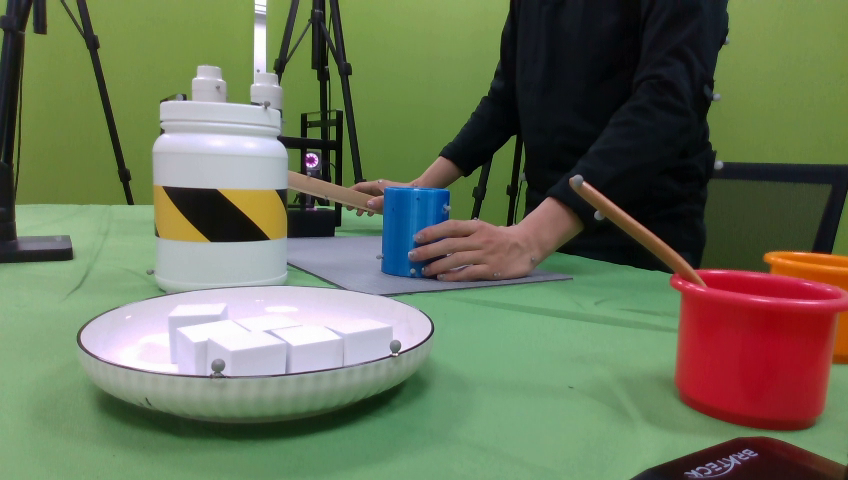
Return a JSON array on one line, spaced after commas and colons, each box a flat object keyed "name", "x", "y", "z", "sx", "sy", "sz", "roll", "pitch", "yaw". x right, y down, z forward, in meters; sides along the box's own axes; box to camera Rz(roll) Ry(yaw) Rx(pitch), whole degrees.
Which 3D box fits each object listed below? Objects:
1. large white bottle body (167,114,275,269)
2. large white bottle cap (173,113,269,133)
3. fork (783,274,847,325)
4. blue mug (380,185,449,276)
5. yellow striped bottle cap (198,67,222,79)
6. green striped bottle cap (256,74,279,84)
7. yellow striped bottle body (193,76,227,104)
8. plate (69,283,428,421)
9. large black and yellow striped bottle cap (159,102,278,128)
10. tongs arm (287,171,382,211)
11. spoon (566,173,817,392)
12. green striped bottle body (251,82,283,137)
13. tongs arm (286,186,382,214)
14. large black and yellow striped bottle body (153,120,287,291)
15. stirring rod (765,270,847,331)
[{"name": "large white bottle body", "x": -0.256, "y": -0.063, "z": 0.771, "sx": 0.131, "sy": 0.184, "sz": 0.130, "roll": 2, "pitch": 7, "yaw": 0}, {"name": "large white bottle cap", "x": -0.254, "y": -0.146, "z": 0.760, "sx": 0.115, "sy": 0.018, "sz": 0.115, "roll": 1, "pitch": 7, "yaw": 0}, {"name": "fork", "x": 0.332, "y": 0.018, "z": 0.443, "sx": 0.028, "sy": 0.018, "sz": 0.207, "roll": -1, "pitch": -36, "yaw": -15}, {"name": "blue mug", "x": -0.018, "y": -0.016, "z": 0.764, "sx": 0.083, "sy": 0.106, "sz": 0.116, "roll": -2, "pitch": 8, "yaw": -25}, {"name": "yellow striped bottle cap", "x": -0.411, "y": -0.320, "z": 1.163, "sx": 0.044, "sy": 0.018, "sz": 0.044, "roll": 1, "pitch": 6, "yaw": 0}, {"name": "green striped bottle cap", "x": -0.314, "y": -0.321, "z": 1.214, "sx": 0.044, "sy": 0.020, "sz": 0.044, "roll": 1, "pitch": 8, "yaw": 0}, {"name": "yellow striped bottle body", "x": -0.414, "y": -0.268, "z": 1.169, "sx": 0.063, "sy": 0.120, "sz": 0.063, "roll": 2, "pitch": 7, "yaw": 0}, {"name": "plate", "x": -0.102, "y": 0.066, "z": 0.381, "sx": 0.208, "sy": 0.039, "sz": 0.207, "roll": 2, "pitch": 7, "yaw": 0}, {"name": "large black and yellow striped bottle cap", "x": -0.207, "y": -0.125, "z": 0.615, "sx": 0.115, "sy": 0.019, "sz": 0.115, "roll": 2, "pitch": 6, "yaw": 0}, {"name": "tongs arm", "x": -0.125, "y": -0.078, "z": 1.150, "sx": 0.387, "sy": 0.026, "sz": 0.050, "roll": 14, "pitch": -3, "yaw": -36}, {"name": "spoon", "x": 0.161, "y": 0.024, "z": 0.370, "sx": 0.193, "sy": 0.021, "sz": 0.042, "roll": 47, "pitch": 18, "yaw": 3}, {"name": "green striped bottle body", "x": -0.317, "y": -0.270, "z": 1.220, "sx": 0.063, "sy": 0.119, "sz": 0.063, "roll": 2, "pitch": 7, "yaw": 0}, {"name": "tongs arm", "x": -0.158, "y": -0.085, "z": 1.201, "sx": 0.390, "sy": 0.027, "sz": 0.028, "roll": 14, "pitch": -7, "yaw": -29}, {"name": "large black and yellow striped bottle body", "x": -0.208, "y": -0.043, "z": 0.626, "sx": 0.131, "sy": 0.184, "sz": 0.130, "roll": 2, "pitch": 7, "yaw": 0}, {"name": "stirring rod", "x": 0.352, "y": 0.020, "z": 0.484, "sx": 0.176, "sy": 0.006, "sz": 0.014, "roll": -40, "pitch": -7, "yaw": 13}]
